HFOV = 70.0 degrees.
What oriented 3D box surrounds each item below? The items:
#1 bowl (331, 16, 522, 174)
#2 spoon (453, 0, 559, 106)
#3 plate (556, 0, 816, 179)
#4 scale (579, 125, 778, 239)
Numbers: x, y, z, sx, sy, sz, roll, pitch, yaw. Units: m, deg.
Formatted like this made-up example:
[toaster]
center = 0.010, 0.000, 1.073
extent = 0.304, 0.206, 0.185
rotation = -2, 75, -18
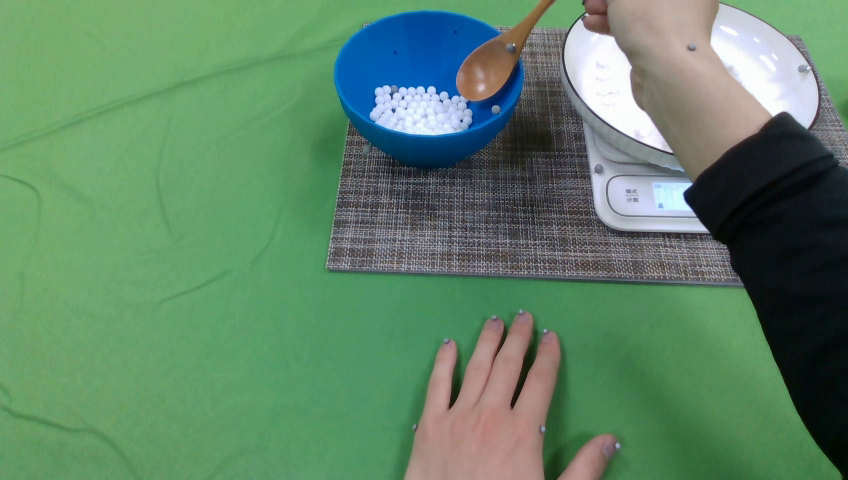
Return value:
[bowl]
center = 0.002, -0.109, 0.507
extent = 0.151, 0.077, 0.150
rotation = 0, 55, 0
[spoon]
center = 0.088, -0.169, 0.447
extent = 0.022, 0.194, 0.041
rotation = -11, 67, -46
[plate]
center = 0.213, -0.127, 0.510
extent = 0.209, 0.038, 0.207
rotation = 1, 55, -1
[scale]
center = 0.211, -0.090, 0.524
extent = 0.149, 0.032, 0.199
rotation = 2, 56, 1
